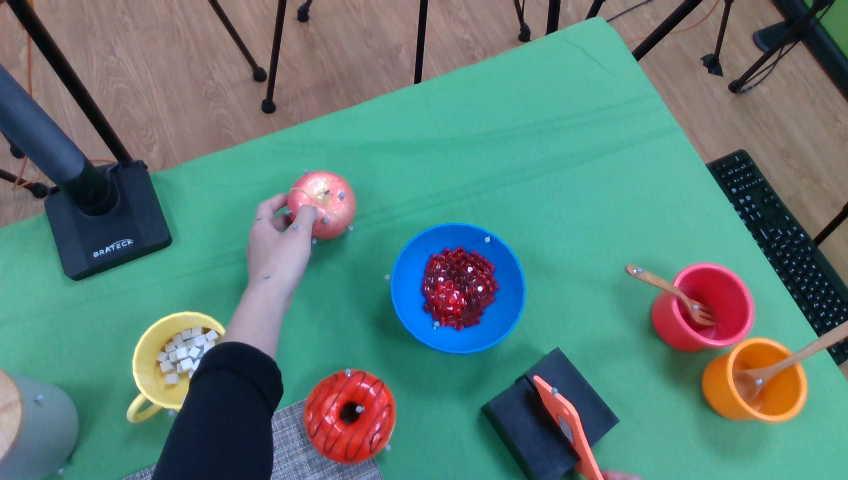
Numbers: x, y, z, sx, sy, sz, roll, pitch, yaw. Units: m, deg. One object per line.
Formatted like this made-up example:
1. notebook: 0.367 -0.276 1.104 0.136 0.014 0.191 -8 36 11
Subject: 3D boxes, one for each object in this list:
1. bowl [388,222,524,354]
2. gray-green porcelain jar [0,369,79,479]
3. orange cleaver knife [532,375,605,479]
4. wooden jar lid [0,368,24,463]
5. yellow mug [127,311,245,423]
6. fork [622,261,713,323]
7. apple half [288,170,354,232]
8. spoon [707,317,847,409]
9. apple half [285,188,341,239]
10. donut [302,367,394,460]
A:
1. bowl: 0.033 0.062 0.694 0.151 0.077 0.150 2 70 -5
2. gray-green porcelain jar: -0.407 0.182 0.582 0.106 0.127 0.105 2 69 -5
3. orange cleaver knife: 0.170 0.234 0.641 0.012 0.077 0.212 -32 105 -14
4. wooden jar lid: -0.402 0.160 0.524 0.108 0.021 0.107 1 68 -3
5. yellow mug: -0.259 0.143 0.643 0.099 0.064 0.130 40 72 10
6. fork: 0.279 0.060 0.682 0.209 0.018 0.028 26 61 -41
7. apple half: -0.116 -0.051 0.724 0.080 0.075 0.053 33 67 6
8. spoon: 0.401 0.130 0.667 0.022 0.194 0.041 -5 58 -55
9. apple half: -0.137 -0.021 0.710 0.081 0.082 0.032 33 66 8
10. donut: -0.081 0.186 0.652 0.099 0.048 0.098 2 70 -5
